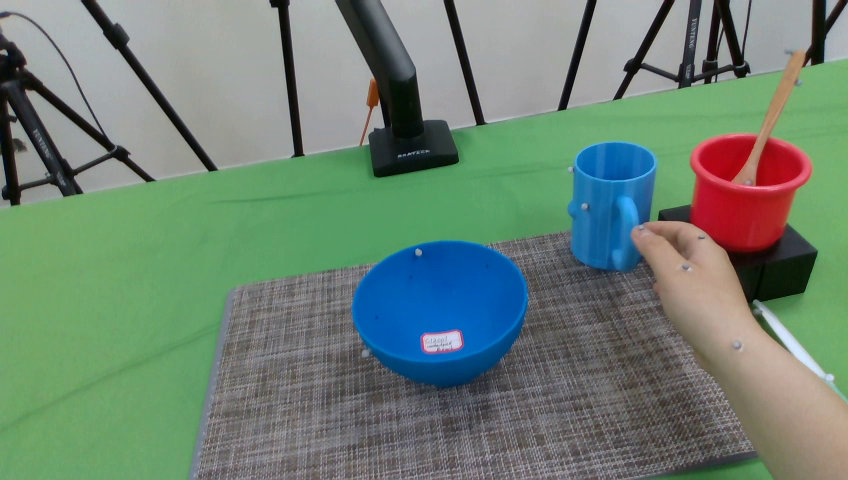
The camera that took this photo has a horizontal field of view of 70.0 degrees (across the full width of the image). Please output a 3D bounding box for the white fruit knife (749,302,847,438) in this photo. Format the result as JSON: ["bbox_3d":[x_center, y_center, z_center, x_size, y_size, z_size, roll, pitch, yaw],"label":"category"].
[{"bbox_3d":[0.318,0.118,0.482,0.027,0.016,0.205,12,32,-16],"label":"white fruit knife"}]

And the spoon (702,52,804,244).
[{"bbox_3d":[0.309,-0.085,0.557,0.041,0.022,0.193,24,92,38],"label":"spoon"}]

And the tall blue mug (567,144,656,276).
[{"bbox_3d":[0.195,-0.023,0.604,0.078,0.109,0.106,-23,39,-18],"label":"tall blue mug"}]

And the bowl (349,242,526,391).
[{"bbox_3d":[0.016,0.079,0.533,0.151,0.077,0.150,-5,38,5],"label":"bowl"}]
